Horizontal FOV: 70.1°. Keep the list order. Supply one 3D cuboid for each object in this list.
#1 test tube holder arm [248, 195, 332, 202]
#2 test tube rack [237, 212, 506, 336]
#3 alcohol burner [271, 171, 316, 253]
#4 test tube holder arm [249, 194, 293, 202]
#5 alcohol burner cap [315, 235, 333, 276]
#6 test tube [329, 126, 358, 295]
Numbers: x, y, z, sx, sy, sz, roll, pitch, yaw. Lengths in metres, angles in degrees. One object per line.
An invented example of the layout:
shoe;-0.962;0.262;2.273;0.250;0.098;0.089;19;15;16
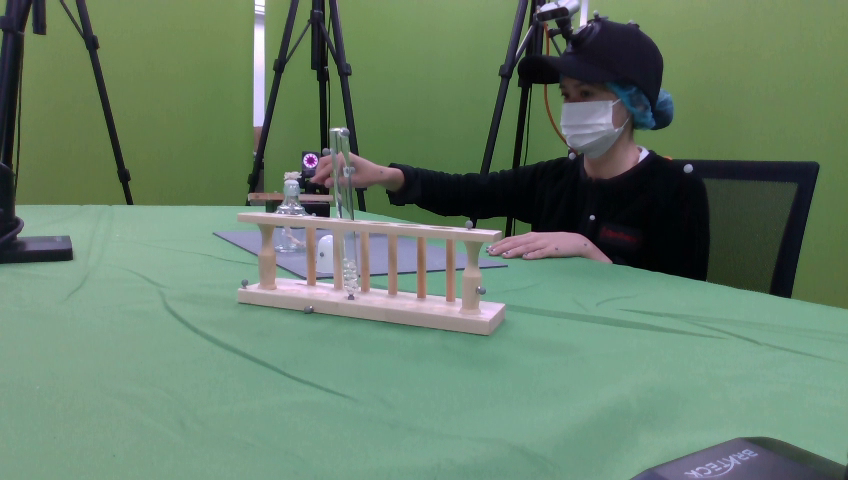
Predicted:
test tube holder arm;-0.269;-0.085;1.229;0.179;0.015;0.013;-2;1;-37
test tube rack;-0.049;0.024;0.552;0.242;0.085;0.067;5;8;18
alcohol burner;-0.196;-0.041;0.884;0.078;0.119;0.078;3;5;0
test tube holder arm;-0.302;-0.084;1.197;0.088;0.015;0.010;-2;1;-37
alcohol burner cap;-0.116;0.018;0.728;0.034;0.048;0.034;3;6;0
test tube;-0.071;-0.025;0.534;0.017;0.150;0.017;-3;10;1
